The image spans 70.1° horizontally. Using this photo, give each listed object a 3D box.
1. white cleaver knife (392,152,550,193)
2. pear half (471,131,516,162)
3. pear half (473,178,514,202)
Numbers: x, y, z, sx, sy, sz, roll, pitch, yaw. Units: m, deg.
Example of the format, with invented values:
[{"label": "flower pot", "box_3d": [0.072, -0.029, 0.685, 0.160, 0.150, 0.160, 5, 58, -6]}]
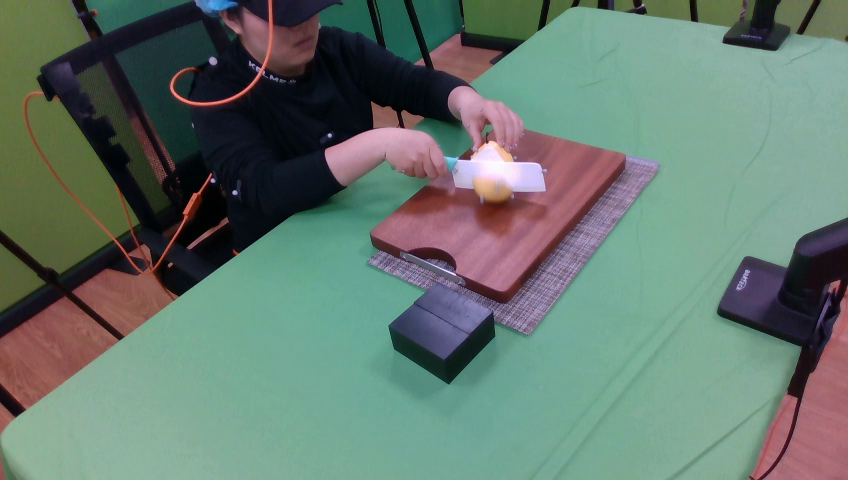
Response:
[{"label": "white cleaver knife", "box_3d": [0.072, -0.113, 1.029, 0.284, 0.066, 0.021, 9, 39, 26]}, {"label": "pear half", "box_3d": [0.118, -0.141, 1.017, 0.076, 0.110, 0.056, 8, 44, 20]}, {"label": "pear half", "box_3d": [0.111, -0.079, 0.986, 0.070, 0.031, 0.088, 11, 0, -4]}]
